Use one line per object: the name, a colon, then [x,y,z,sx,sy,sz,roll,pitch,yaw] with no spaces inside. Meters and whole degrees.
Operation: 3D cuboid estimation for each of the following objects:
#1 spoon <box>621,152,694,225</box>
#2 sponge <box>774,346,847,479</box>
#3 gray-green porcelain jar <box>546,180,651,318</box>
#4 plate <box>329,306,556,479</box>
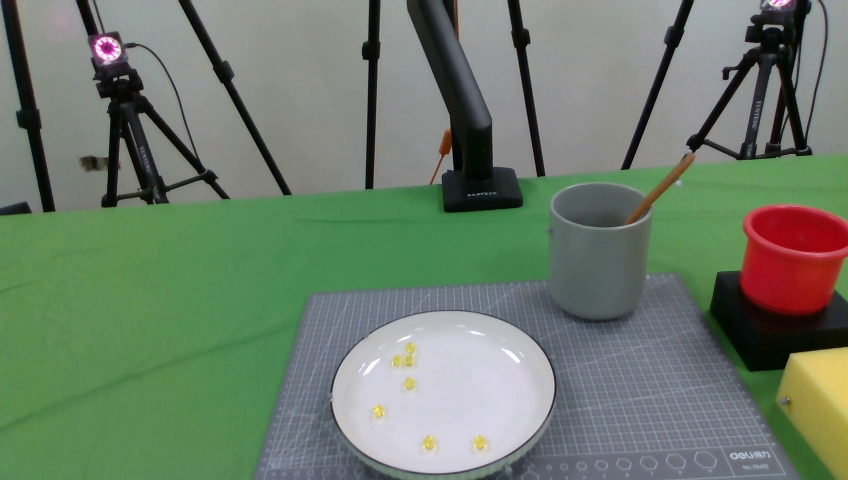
spoon: [0.214,-0.014,0.635,0.021,0.194,0.041,29,32,1]
sponge: [0.385,0.167,0.456,0.118,0.061,0.205,-7,31,-3]
gray-green porcelain jar: [0.188,0.014,0.664,0.106,0.127,0.105,-4,32,3]
plate: [0.018,0.140,0.570,0.207,0.039,0.206,-4,32,3]
